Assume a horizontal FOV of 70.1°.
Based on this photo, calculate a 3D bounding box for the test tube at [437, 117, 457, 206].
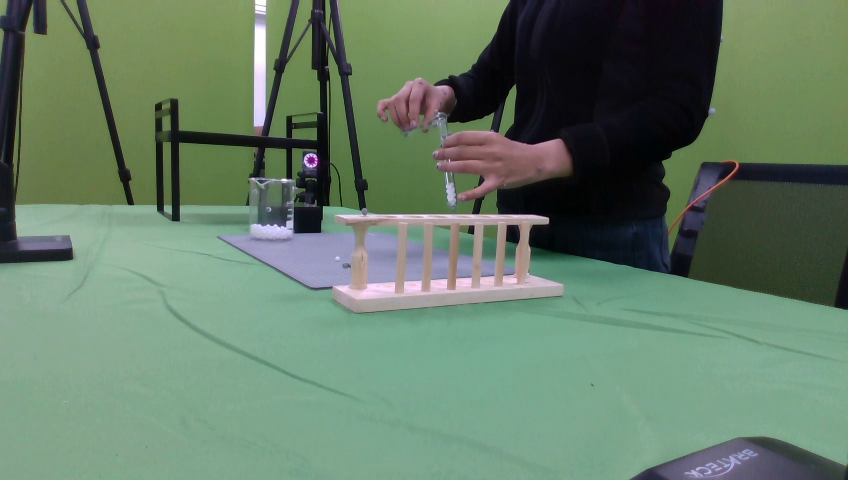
[{"bbox_3d":[0.033,-0.115,0.876,0.017,0.150,0.017,-5,-26,-2],"label":"test tube"}]

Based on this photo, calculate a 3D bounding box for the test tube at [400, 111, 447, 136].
[{"bbox_3d":[-0.004,-0.185,0.971,0.017,0.017,0.150,-1,0,-26],"label":"test tube"}]

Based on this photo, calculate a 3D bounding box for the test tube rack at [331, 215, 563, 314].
[{"bbox_3d":[0.031,0.019,0.625,0.243,0.085,0.066,-1,8,-28],"label":"test tube rack"}]

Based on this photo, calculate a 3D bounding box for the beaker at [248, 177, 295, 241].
[{"bbox_3d":[-0.252,-0.051,0.992,0.074,0.100,0.084,3,9,6],"label":"beaker"}]
